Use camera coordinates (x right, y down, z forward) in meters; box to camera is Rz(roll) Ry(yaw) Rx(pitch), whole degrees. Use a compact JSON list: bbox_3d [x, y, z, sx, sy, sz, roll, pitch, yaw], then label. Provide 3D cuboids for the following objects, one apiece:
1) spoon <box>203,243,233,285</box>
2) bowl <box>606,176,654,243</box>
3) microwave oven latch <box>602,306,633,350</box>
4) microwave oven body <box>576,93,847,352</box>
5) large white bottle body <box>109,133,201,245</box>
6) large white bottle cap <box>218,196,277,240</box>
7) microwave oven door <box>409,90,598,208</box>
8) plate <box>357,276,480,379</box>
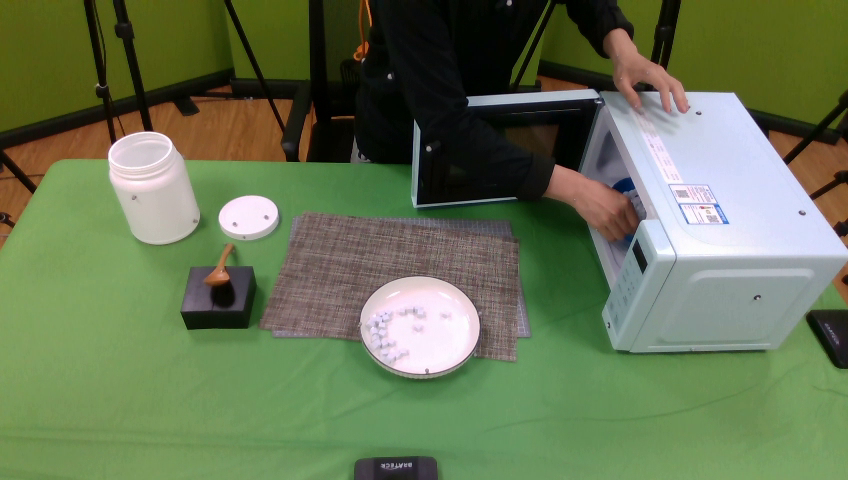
[{"bbox_3d":[-0.360,0.039,1.087,0.041,0.022,0.192,-5,24,-7],"label":"spoon"},{"bbox_3d":[0.413,-0.044,1.146,0.151,0.077,0.150,2,48,-1],"label":"bowl"},{"bbox_3d":[0.332,0.152,1.044,0.030,0.029,0.078,0,45,-3],"label":"microwave oven latch"},{"bbox_3d":[0.475,-0.042,1.109,0.326,0.261,0.438,-1,45,-4],"label":"microwave oven body"},{"bbox_3d":[-0.505,-0.096,1.141,0.131,0.185,0.130,1,45,-1],"label":"large white bottle body"},{"bbox_3d":[-0.354,-0.045,1.220,0.115,0.018,0.114,2,45,-1],"label":"large white bottle cap"},{"bbox_3d":[0.151,-0.179,1.212,0.356,0.245,0.039,-6,46,-10],"label":"microwave oven door"},{"bbox_3d":[-0.009,0.151,1.038,0.209,0.038,0.208,2,47,-2],"label":"plate"}]
